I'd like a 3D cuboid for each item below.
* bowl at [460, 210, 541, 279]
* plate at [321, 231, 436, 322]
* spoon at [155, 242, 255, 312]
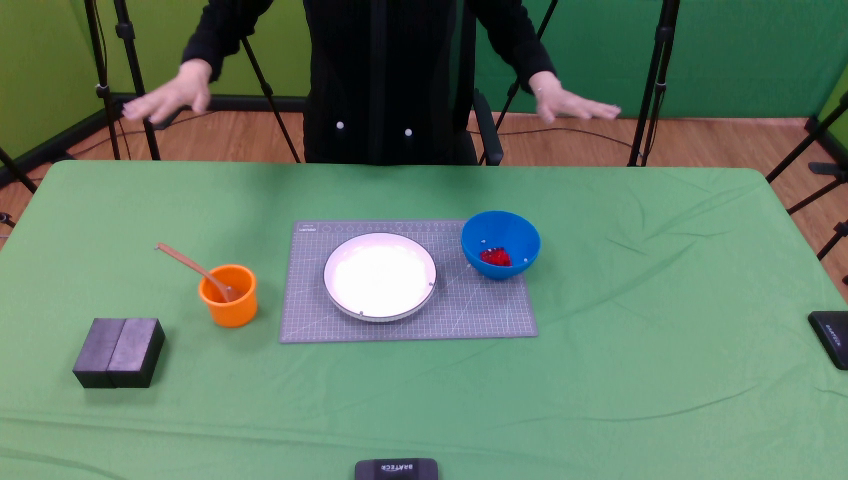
[{"bbox_3d":[0.140,0.021,1.145,0.151,0.077,0.150,2,46,-2],"label":"bowl"},{"bbox_3d":[-0.083,0.070,1.109,0.209,0.038,0.208,3,46,-3],"label":"plate"},{"bbox_3d":[-0.366,0.061,1.021,0.021,0.195,0.041,-27,32,32],"label":"spoon"}]
